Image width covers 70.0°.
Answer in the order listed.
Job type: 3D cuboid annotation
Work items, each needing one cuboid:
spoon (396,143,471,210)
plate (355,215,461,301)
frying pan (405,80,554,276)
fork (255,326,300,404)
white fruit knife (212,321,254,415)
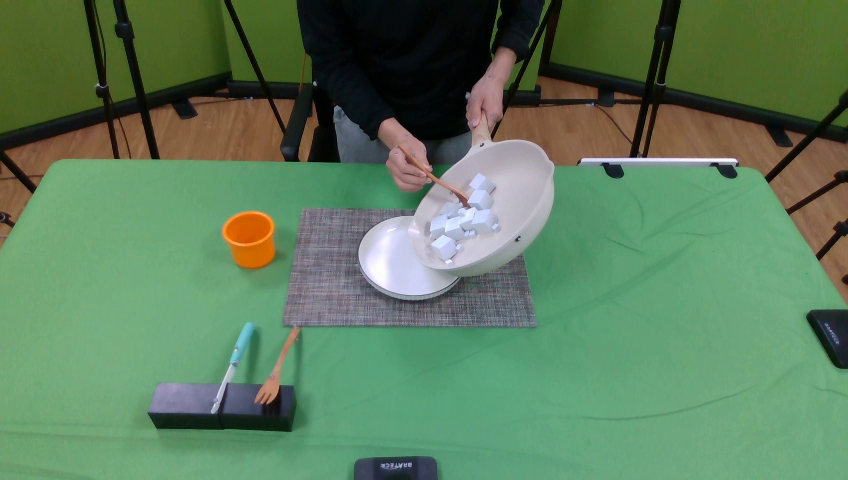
[{"bbox_3d":[0.020,-0.116,1.118,0.021,0.195,0.041,-57,26,-3],"label":"spoon"},{"bbox_3d":[-0.025,0.038,1.144,0.208,0.039,0.206,3,46,-2],"label":"plate"},{"bbox_3d":[0.109,-0.137,1.136,0.306,0.103,0.485,-21,49,29],"label":"frying pan"},{"bbox_3d":[-0.226,0.192,0.955,0.028,0.019,0.206,-1,27,4],"label":"fork"},{"bbox_3d":[-0.298,0.193,0.947,0.016,0.027,0.206,2,31,-1],"label":"white fruit knife"}]
